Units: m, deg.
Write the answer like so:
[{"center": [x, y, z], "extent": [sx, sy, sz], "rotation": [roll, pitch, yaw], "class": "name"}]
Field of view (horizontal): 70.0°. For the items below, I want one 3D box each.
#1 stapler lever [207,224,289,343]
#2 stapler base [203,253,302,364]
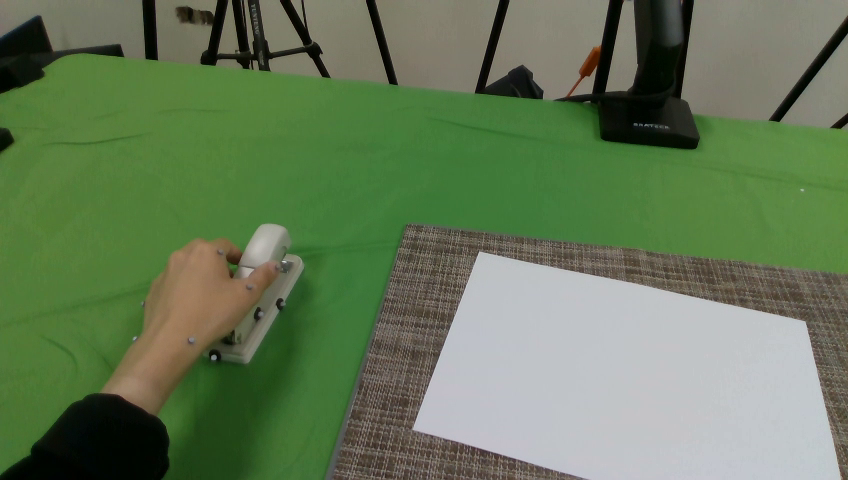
[{"center": [-0.147, 0.033, 0.515], "extent": [0.027, 0.040, 0.117], "rotation": [8, 42, 10], "class": "stapler lever"}, {"center": [-0.148, 0.050, 0.533], "extent": [0.041, 0.024, 0.129], "rotation": [8, 43, 10], "class": "stapler base"}]
